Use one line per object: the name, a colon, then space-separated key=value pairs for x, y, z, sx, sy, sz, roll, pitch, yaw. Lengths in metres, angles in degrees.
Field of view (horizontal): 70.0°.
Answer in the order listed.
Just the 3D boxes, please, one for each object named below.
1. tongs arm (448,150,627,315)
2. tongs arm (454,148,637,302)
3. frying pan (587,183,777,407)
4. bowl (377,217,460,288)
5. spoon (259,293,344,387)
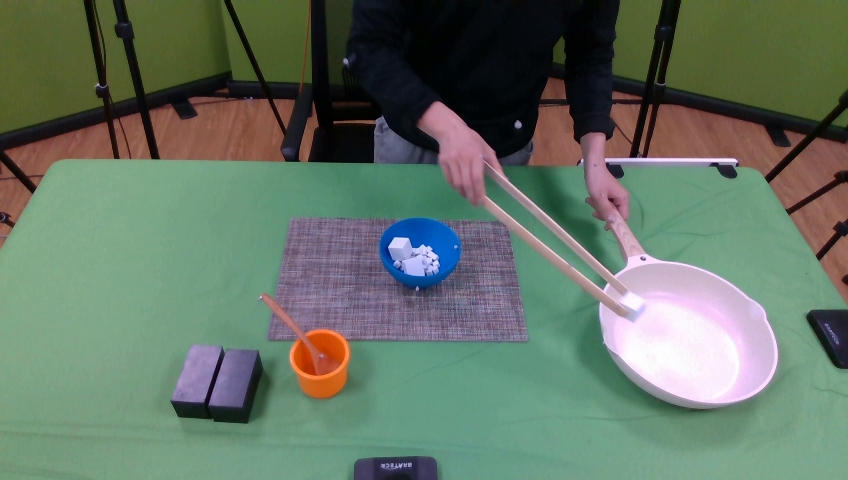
tongs arm: x=0.184 y=-0.017 z=1.006 sx=0.384 sy=0.026 sz=0.050 roll=39 pitch=65 yaw=10
tongs arm: x=0.199 y=-0.030 z=1.015 sx=0.386 sy=0.028 sz=0.028 roll=43 pitch=69 yaw=12
frying pan: x=0.412 y=0.079 z=1.097 sx=0.307 sy=0.103 sz=0.484 roll=-9 pitch=56 yaw=-14
bowl: x=-0.012 y=0.036 z=1.118 sx=0.151 sy=0.077 sz=0.150 roll=2 pitch=46 yaw=-2
spoon: x=-0.191 y=0.155 z=0.947 sx=0.021 sy=0.194 sz=0.041 roll=-13 pitch=27 yaw=50
